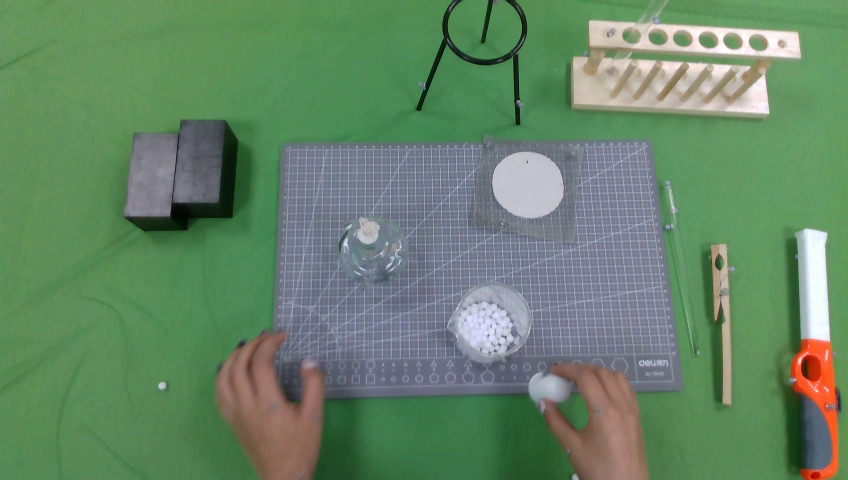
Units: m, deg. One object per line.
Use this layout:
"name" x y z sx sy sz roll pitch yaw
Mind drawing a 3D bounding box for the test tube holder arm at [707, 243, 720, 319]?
"test tube holder arm" 0.333 0.047 0.695 0.010 0.015 0.087 -8 72 33

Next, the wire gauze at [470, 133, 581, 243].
"wire gauze" 0.122 -0.065 0.722 0.125 0.011 0.121 10 76 0

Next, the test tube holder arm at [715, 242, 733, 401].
"test tube holder arm" 0.336 0.090 0.680 0.013 0.015 0.177 -8 72 33

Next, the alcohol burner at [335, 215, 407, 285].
"alcohol burner" -0.058 0.005 0.642 0.078 0.120 0.077 0 73 1

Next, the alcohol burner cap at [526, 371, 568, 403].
"alcohol burner cap" 0.127 0.148 0.615 0.034 0.048 0.033 4 76 -16

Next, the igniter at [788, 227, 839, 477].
"igniter" 0.430 0.119 0.672 0.057 0.025 0.275 10 74 -9

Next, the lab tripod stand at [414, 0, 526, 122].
"lab tripod stand" 0.058 -0.205 0.696 0.148 0.132 0.147 0 76 -1

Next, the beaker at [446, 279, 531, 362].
"beaker" 0.062 0.089 0.630 0.084 0.101 0.073 -9 74 -3

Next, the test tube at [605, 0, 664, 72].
"test tube" 0.237 -0.234 0.682 0.017 0.151 0.017 1 74 -4

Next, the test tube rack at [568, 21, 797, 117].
"test tube rack" 0.304 -0.203 0.727 0.242 0.085 0.066 3 74 -1

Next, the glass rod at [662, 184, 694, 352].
"glass rod" 0.295 0.029 0.703 0.008 0.008 0.198 -3 77 -3
